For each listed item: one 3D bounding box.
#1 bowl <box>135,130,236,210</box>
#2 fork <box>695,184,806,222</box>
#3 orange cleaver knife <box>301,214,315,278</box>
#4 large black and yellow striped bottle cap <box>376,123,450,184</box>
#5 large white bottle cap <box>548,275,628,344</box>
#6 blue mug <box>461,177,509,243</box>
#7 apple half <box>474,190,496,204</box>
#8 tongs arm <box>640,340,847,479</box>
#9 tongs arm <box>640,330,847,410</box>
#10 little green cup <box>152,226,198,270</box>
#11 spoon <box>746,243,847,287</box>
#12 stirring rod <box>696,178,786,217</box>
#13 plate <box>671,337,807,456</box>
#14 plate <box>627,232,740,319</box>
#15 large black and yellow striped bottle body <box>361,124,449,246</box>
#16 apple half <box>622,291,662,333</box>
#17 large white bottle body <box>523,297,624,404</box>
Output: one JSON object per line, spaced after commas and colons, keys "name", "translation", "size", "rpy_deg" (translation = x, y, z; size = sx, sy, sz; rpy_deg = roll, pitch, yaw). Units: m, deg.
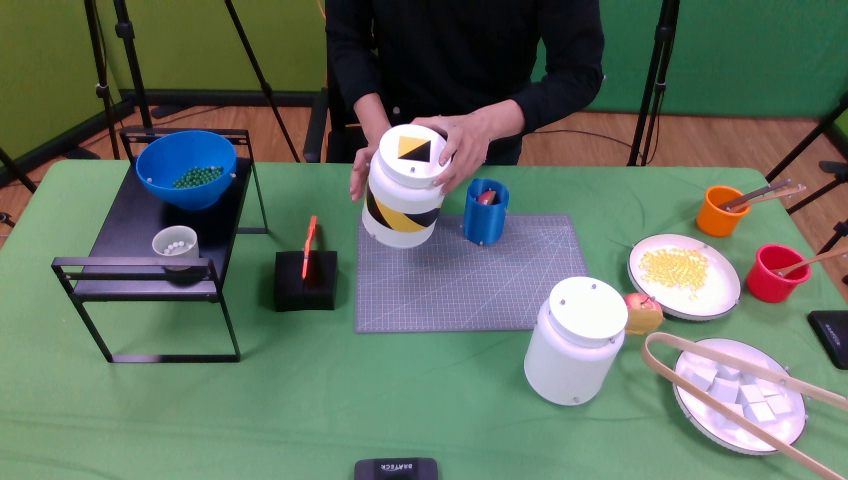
{"name": "bowl", "translation": [-0.375, -0.102, 0.978], "size": [0.151, 0.077, 0.150], "rpy_deg": [3, 46, -2]}
{"name": "fork", "translation": [0.658, -0.074, 1.229], "size": [0.207, 0.019, 0.028], "rpy_deg": [-23, 33, 36]}
{"name": "orange cleaver knife", "translation": [-0.217, 0.007, 1.131], "size": [0.012, 0.077, 0.210], "rpy_deg": [7, 19, -9]}
{"name": "large black and yellow striped bottle cap", "translation": [-0.017, -0.136, 0.941], "size": [0.115, 0.019, 0.114], "rpy_deg": [7, 53, -9]}
{"name": "large white bottle cap", "translation": [0.240, 0.100, 0.890], "size": [0.115, 0.018, 0.114], "rpy_deg": [3, 47, -3]}
{"name": "blue mug", "translation": [0.114, -0.069, 1.211], "size": [0.082, 0.106, 0.115], "rpy_deg": [-12, 48, -15]}
{"name": "apple half", "translation": [0.109, -0.067, 1.200], "size": [0.032, 0.081, 0.081], "rpy_deg": [29, 50, 12]}
{"name": "tongs arm", "translation": [0.500, 0.277, 0.920], "size": [0.386, 0.028, 0.028], "rpy_deg": [34, 59, 22]}
{"name": "tongs arm", "translation": [0.543, 0.225, 0.969], "size": [0.384, 0.026, 0.050], "rpy_deg": [22, 52, 13]}
{"name": "little green cup", "translation": [-0.364, 0.013, 0.894], "size": [0.061, 0.039, 0.061], "rpy_deg": [3, 47, -3]}
{"name": "spoon", "translation": [0.702, 0.043, 1.126], "size": [0.194, 0.022, 0.041], "rpy_deg": [-29, 38, 30]}
{"name": "stirring rod", "translation": [0.648, -0.087, 1.244], "size": [0.176, 0.006, 0.014], "rpy_deg": [-25, 50, 29]}
{"name": "plate", "translation": [0.504, 0.254, 0.984], "size": [0.208, 0.039, 0.206], "rpy_deg": [2, 46, -2]}
{"name": "plate", "translation": [0.489, 0.070, 1.157], "size": [0.209, 0.038, 0.208], "rpy_deg": [3, 46, -3]}
{"name": "large black and yellow striped bottle body", "translation": [-0.032, -0.089, 1.009], "size": [0.131, 0.184, 0.130], "rpy_deg": [7, 54, -9]}
{"name": "apple half", "translation": [0.372, 0.123, 1.074], "size": [0.081, 0.075, 0.053], "rpy_deg": [0, 43, 1]}
{"name": "large white bottle body", "translation": [0.235, 0.159, 0.952], "size": [0.131, 0.185, 0.130], "rpy_deg": [2, 47, -2]}
